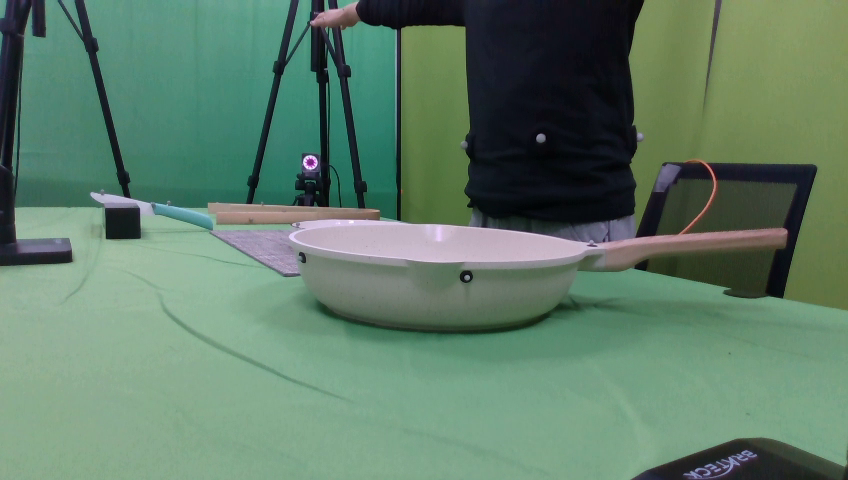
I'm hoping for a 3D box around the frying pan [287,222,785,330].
[{"bbox_3d":[0.114,0.015,0.606,0.488,0.102,0.307,-6,8,3],"label":"frying pan"}]

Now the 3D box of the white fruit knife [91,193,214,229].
[{"bbox_3d":[-0.478,-0.055,1.077,0.208,0.027,0.016,14,-1,-30],"label":"white fruit knife"}]

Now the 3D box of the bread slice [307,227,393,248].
[{"bbox_3d":[-0.115,-0.005,0.950,0.134,0.018,0.107,3,6,-7],"label":"bread slice"}]

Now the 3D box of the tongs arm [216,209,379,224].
[{"bbox_3d":[-0.261,-0.052,1.336,0.390,0.028,0.028,-3,7,-34],"label":"tongs arm"}]

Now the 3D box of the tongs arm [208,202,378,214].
[{"bbox_3d":[-0.296,-0.067,1.406,0.386,0.026,0.050,0,9,-22],"label":"tongs arm"}]

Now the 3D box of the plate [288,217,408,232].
[{"bbox_3d":[-0.109,-0.007,0.956,0.208,0.039,0.207,2,7,0],"label":"plate"}]
